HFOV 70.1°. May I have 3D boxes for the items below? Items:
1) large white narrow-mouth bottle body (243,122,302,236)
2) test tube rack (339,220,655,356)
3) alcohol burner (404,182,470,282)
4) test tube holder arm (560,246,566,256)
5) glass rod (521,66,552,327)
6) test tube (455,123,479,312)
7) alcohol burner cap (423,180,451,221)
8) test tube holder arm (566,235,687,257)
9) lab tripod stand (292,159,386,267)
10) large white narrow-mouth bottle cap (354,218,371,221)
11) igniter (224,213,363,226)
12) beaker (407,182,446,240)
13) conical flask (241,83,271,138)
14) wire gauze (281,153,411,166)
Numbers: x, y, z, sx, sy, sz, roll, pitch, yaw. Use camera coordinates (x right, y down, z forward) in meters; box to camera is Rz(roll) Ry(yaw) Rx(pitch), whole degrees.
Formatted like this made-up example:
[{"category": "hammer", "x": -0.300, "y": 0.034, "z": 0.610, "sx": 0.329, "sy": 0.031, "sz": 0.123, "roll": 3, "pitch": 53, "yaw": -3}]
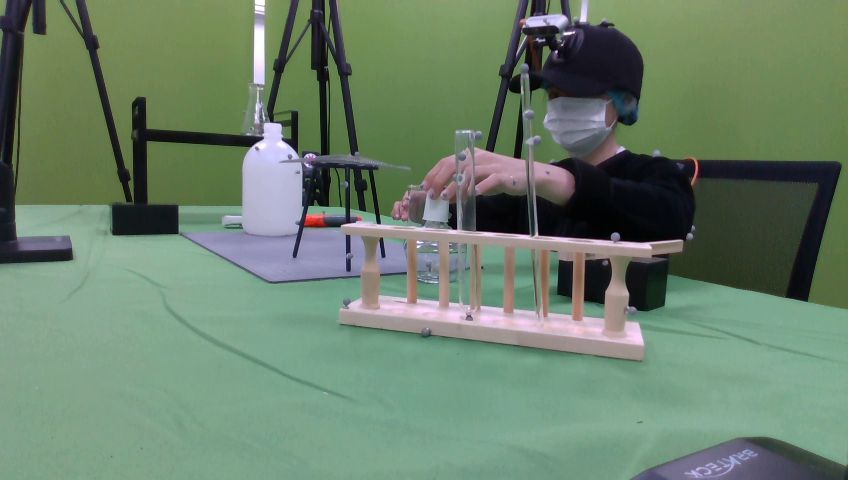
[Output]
[{"category": "large white narrow-mouth bottle body", "x": -0.265, "y": -0.109, "z": 1.061, "sx": 0.102, "sy": 0.194, "sz": 0.102, "roll": 2, "pitch": 8, "yaw": 0}, {"category": "test tube rack", "x": 0.056, "y": 0.032, "z": 0.495, "sx": 0.242, "sy": 0.085, "sz": 0.067, "roll": 4, "pitch": 7, "yaw": 15}, {"category": "alcohol burner", "x": 0.015, "y": -0.011, "z": 0.714, "sx": 0.078, "sy": 0.119, "sz": 0.078, "roll": 0, "pitch": 7, "yaw": 0}, {"category": "test tube holder arm", "x": 0.173, "y": 0.007, "z": 0.611, "sx": 0.088, "sy": 0.015, "sz": 0.010, "roll": -3, "pitch": 9, "yaw": -30}, {"category": "glass rod", "x": 0.085, "y": -0.028, "z": 0.454, "sx": 0.008, "sy": 0.199, "sz": 0.008, "roll": -7, "pitch": 10, "yaw": 2}, {"category": "test tube", "x": 0.034, "y": -0.016, "z": 0.476, "sx": 0.017, "sy": 0.150, "sz": 0.017, "roll": -2, "pitch": 10, "yaw": 1}, {"category": "alcohol burner cap", "x": 0.017, "y": -0.047, "z": 0.711, "sx": 0.034, "sy": 0.048, "sz": 0.034, "roll": 8, "pitch": 5, "yaw": 0}, {"category": "test tube holder arm", "x": 0.215, "y": 0.006, "z": 0.630, "sx": 0.179, "sy": 0.015, "sz": 0.013, "roll": -3, "pitch": 9, "yaw": -30}, {"category": "lab tripod stand", "x": -0.105, "y": -0.039, "z": 0.797, "sx": 0.148, "sy": 0.131, "sz": 0.148, "roll": 2, "pitch": 5, "yaw": 0}, {"category": "large white narrow-mouth bottle cap", "x": -0.120, "y": -0.029, "z": 1.184, "sx": 0.038, "sy": 0.024, "sz": 0.037, "roll": 2, "pitch": 8, "yaw": 0}, {"category": "igniter", "x": -0.254, "y": -0.041, "z": 1.210, "sx": 0.278, "sy": 0.025, "sz": 0.057, "roll": -2, "pitch": -2, "yaw": -31}, {"category": "beaker", "x": 0.008, "y": -0.053, "z": 1.102, "sx": 0.074, "sy": 0.100, "sz": 0.083, "roll": -6, "pitch": 12, "yaw": -43}, {"category": "conical flask", "x": -0.384, "y": -0.297, "z": 1.393, "sx": 0.075, "sy": 0.122, "sz": 0.075, "roll": 2, "pitch": 7, "yaw": 0}, {"category": "wire gauze", "x": -0.102, "y": -0.105, "z": 0.785, "sx": 0.121, "sy": 0.011, "sz": 0.126, "roll": 7, "pitch": 8, "yaw": 42}]
